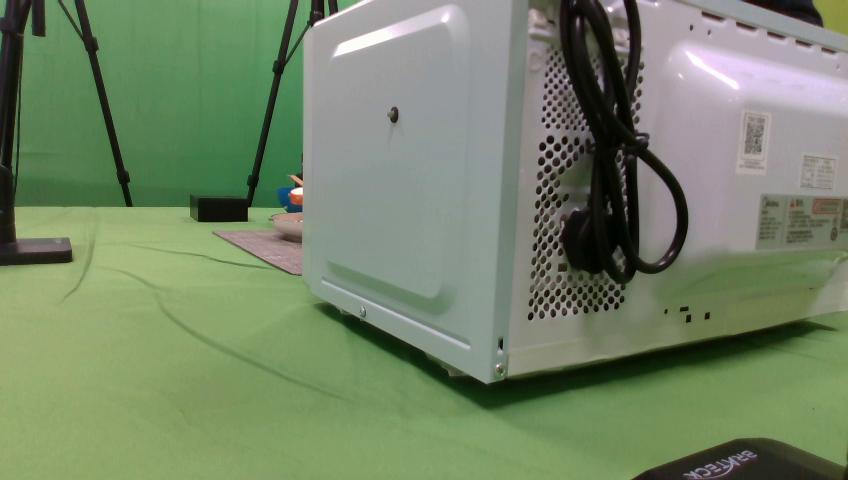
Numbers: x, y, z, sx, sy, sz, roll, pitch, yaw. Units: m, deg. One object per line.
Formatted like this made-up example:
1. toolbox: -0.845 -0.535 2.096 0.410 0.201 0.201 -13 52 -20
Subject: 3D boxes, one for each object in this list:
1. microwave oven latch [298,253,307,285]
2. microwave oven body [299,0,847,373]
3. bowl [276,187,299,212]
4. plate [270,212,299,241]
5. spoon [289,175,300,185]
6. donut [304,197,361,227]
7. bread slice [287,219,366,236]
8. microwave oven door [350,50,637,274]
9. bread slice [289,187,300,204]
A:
1. microwave oven latch: -0.081 0.027 0.582 0.079 0.029 0.030 -1 7 -32
2. microwave oven body: 0.151 -0.055 0.542 0.444 0.260 0.324 -1 7 -33
3. bowl: -0.241 -0.073 1.302 0.151 0.077 0.151 2 7 0
4. plate: -0.162 -0.022 1.058 0.208 0.039 0.207 2 7 0
5. spoon: -0.261 -0.111 1.343 0.042 0.021 0.192 -6 32 -31
6. donut: -0.160 -0.049 1.056 0.099 0.048 0.099 4 7 0
7. bread slice: -0.170 -0.022 1.056 0.134 0.018 0.107 2 7 -6
8. microwave oven door: 0.093 -0.085 0.722 0.357 0.243 0.039 0 8 -20
9. bread slice: -0.167 -0.080 1.052 0.131 0.019 0.105 -1 13 0
